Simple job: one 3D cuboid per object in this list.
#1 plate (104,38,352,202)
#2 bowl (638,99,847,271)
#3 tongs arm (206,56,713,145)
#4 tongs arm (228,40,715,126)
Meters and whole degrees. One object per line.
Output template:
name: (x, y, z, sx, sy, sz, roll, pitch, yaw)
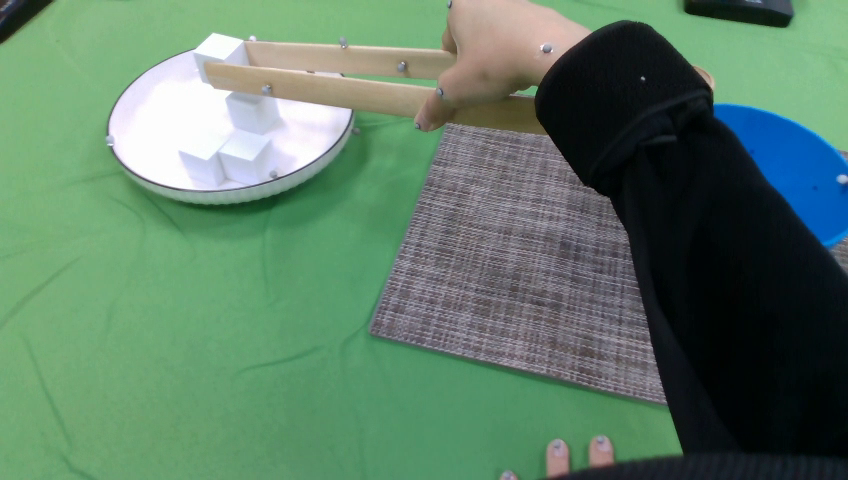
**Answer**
plate: (-0.168, -0.107, 0.542, 0.209, 0.038, 0.207, 1, 52, -1)
bowl: (0.230, -0.029, 0.460, 0.151, 0.077, 0.150, 1, 51, -1)
tongs arm: (-0.009, -0.104, 0.424, 0.385, 0.028, 0.028, 13, 45, 26)
tongs arm: (0.001, -0.119, 0.437, 0.383, 0.027, 0.050, 9, 47, 23)
